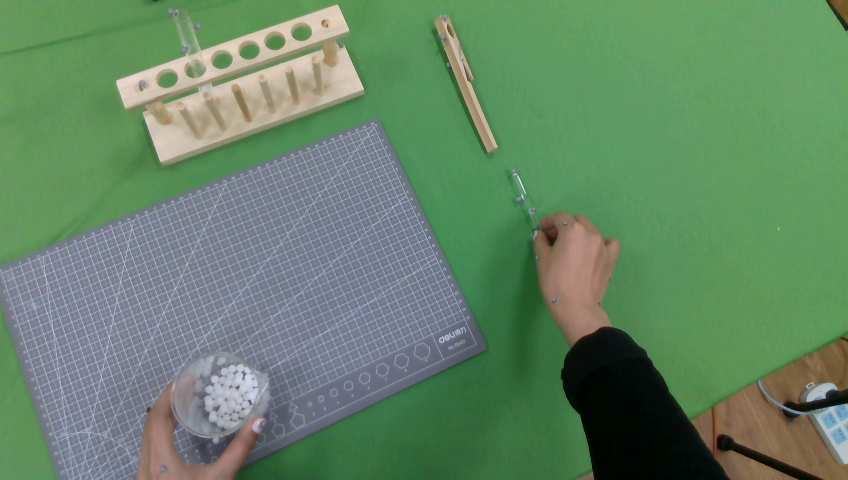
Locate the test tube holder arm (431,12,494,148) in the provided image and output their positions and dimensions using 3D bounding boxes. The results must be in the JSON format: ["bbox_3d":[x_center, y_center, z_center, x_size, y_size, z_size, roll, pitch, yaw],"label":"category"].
[{"bbox_3d":[0.045,-0.192,0.722,0.013,0.015,0.177,-11,77,-37],"label":"test tube holder arm"}]

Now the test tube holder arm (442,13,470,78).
[{"bbox_3d":[0.035,-0.234,0.734,0.010,0.015,0.087,-11,76,-36],"label":"test tube holder arm"}]

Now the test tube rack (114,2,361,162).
[{"bbox_3d":[-0.196,-0.172,0.670,0.242,0.085,0.066,-22,79,-8],"label":"test tube rack"}]

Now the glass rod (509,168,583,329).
[{"bbox_3d":[0.137,0.008,0.687,0.008,0.008,0.199,-20,80,-8],"label":"glass rod"}]

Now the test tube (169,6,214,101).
[{"bbox_3d":[-0.235,-0.184,0.619,0.017,0.151,0.017,3,72,-8],"label":"test tube"}]

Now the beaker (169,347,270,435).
[{"bbox_3d":[-0.186,0.142,0.577,0.084,0.100,0.073,-14,78,-10],"label":"beaker"}]
